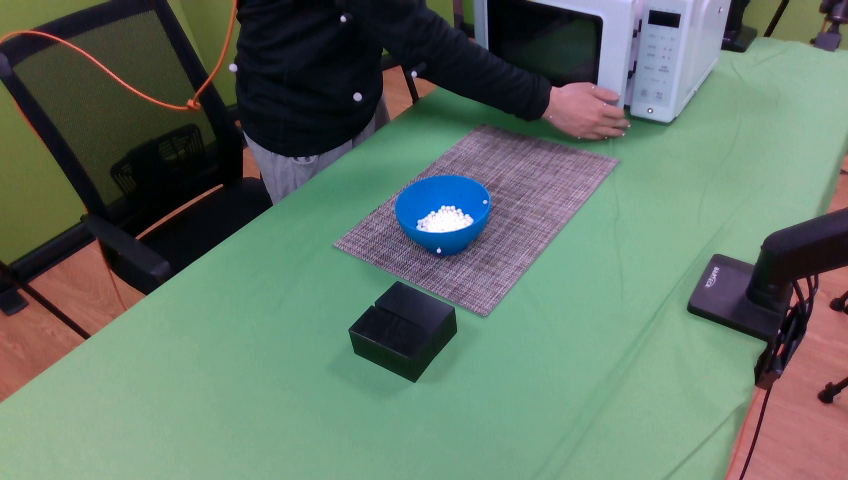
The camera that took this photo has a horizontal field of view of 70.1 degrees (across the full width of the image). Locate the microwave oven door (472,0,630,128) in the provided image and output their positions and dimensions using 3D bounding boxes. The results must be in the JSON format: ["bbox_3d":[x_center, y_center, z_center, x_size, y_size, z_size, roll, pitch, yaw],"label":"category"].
[{"bbox_3d":[0.239,-0.381,1.184,0.353,0.245,0.039,29,52,35],"label":"microwave oven door"}]

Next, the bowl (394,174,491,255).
[{"bbox_3d":[0.032,-0.030,0.949,0.151,0.077,0.150,-4,40,4],"label":"bowl"}]

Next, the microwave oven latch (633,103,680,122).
[{"bbox_3d":[0.443,-0.249,1.157,0.078,0.029,0.030,21,49,30],"label":"microwave oven latch"}]

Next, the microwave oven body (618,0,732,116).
[{"bbox_3d":[0.377,-0.462,1.267,0.438,0.261,0.327,21,48,30],"label":"microwave oven body"}]
